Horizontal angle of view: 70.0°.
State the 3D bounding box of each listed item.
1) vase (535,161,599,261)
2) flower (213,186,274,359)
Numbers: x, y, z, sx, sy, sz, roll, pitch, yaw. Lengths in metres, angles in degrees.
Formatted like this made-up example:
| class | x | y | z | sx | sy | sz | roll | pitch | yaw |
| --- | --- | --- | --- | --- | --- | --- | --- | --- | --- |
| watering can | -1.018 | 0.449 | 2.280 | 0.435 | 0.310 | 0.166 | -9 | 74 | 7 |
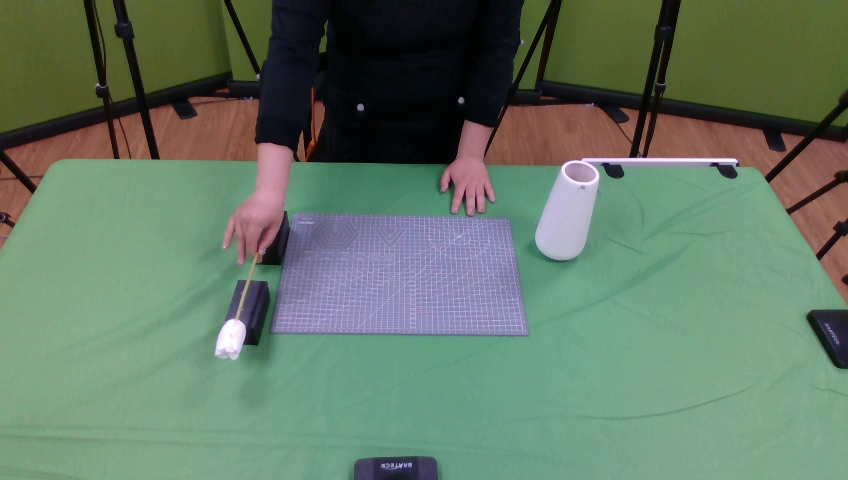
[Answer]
| class | x | y | z | sx | sy | sz | roll | pitch | yaw |
| --- | --- | --- | --- | --- | --- | --- | --- | --- | --- |
| vase | 0.271 | -0.051 | 1.145 | 0.098 | 0.201 | 0.097 | 1 | 46 | -1 |
| flower | -0.295 | 0.038 | 1.034 | 0.044 | 0.038 | 0.359 | -23 | 44 | 29 |
